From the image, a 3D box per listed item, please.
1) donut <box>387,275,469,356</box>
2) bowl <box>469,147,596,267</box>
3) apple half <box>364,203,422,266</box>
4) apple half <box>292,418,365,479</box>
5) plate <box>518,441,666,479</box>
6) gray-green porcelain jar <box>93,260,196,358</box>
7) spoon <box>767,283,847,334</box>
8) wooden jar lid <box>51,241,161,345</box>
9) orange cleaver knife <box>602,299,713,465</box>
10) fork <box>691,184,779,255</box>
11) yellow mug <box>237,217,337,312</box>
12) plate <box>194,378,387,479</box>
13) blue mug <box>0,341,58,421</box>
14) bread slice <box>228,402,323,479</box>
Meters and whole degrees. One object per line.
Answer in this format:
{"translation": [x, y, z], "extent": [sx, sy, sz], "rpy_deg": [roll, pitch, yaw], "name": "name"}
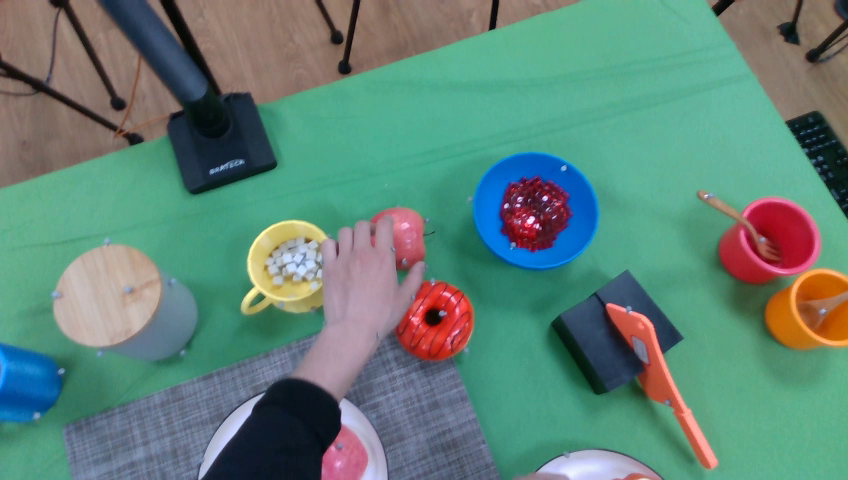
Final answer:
{"translation": [0.006, 0.090, 0.723], "extent": [0.099, 0.048, 0.098], "rpy_deg": [1, 73, -2], "name": "donut"}
{"translation": [0.128, -0.031, 0.750], "extent": [0.151, 0.077, 0.150], "rpy_deg": [0, 72, -1], "name": "bowl"}
{"translation": [-0.039, -0.011, 0.754], "extent": [0.074, 0.053, 0.080], "rpy_deg": [1, 72, 2], "name": "apple half"}
{"translation": [-0.102, 0.234, 0.654], "extent": [0.081, 0.033, 0.081], "rpy_deg": [1, 71, -2], "name": "apple half"}
{"translation": [0.183, 0.327, 0.657], "extent": [0.209, 0.038, 0.208], "rpy_deg": [0, 72, -1], "name": "plate"}
{"translation": [-0.324, 0.075, 0.681], "extent": [0.106, 0.127, 0.105], "rpy_deg": [0, 71, -1], "name": "gray-green porcelain jar"}
{"translation": [0.489, 0.053, 0.695], "extent": [0.022, 0.194, 0.041], "rpy_deg": [-6, 62, -51], "name": "spoon"}
{"translation": [-0.323, 0.055, 0.622], "extent": [0.108, 0.021, 0.107], "rpy_deg": [0, 70, 0], "name": "wooden jar lid"}
{"translation": [0.263, 0.159, 0.690], "extent": [0.012, 0.077, 0.212], "rpy_deg": [-30, 97, -18], "name": "orange cleaver knife"}
{"translation": [0.372, -0.023, 0.717], "extent": [0.209, 0.018, 0.028], "rpy_deg": [25, 66, -37], "name": "fork"}
{"translation": [-0.170, 0.039, 0.727], "extent": [0.131, 0.064, 0.099], "rpy_deg": [-43, 77, -13], "name": "yellow mug"}
{"translation": [-0.144, 0.259, 0.668], "extent": [0.208, 0.039, 0.206], "rpy_deg": [0, 72, -1], "name": "plate"}
{"translation": [-0.481, 0.164, 0.658], "extent": [0.082, 0.106, 0.116], "rpy_deg": [41, 76, 12], "name": "blue mug"}
{"translation": [-0.137, 0.261, 0.668], "extent": [0.107, 0.018, 0.133], "rpy_deg": [-31, 75, -10], "name": "bread slice"}
